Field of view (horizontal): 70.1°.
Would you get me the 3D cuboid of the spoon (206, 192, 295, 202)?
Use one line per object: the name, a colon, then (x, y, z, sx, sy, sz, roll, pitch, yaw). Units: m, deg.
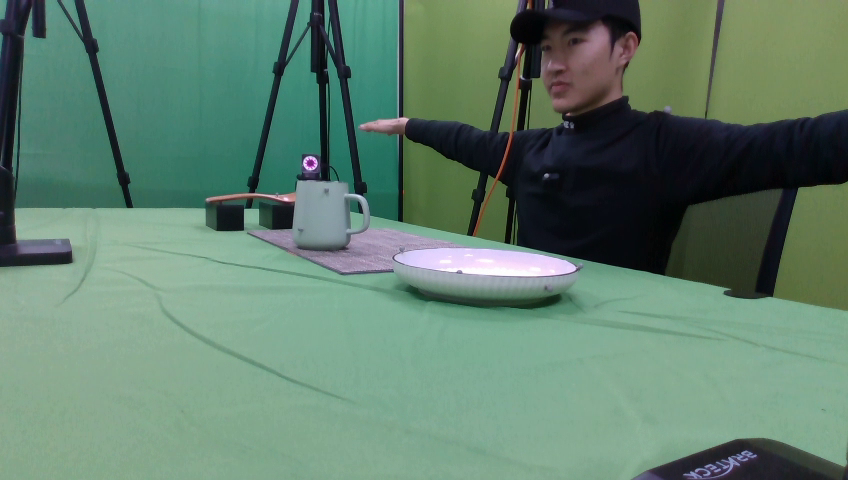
spoon: (-0.335, -0.087, 1.214, 0.195, 0.021, 0.041, -2, 25, -28)

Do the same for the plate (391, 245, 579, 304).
plate: (0.066, 0.038, 0.683, 0.209, 0.038, 0.209, 2, 7, 0)

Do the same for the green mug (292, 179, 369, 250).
green mug: (-0.144, -0.040, 0.944, 0.125, 0.105, 0.093, 4, 7, 16)
